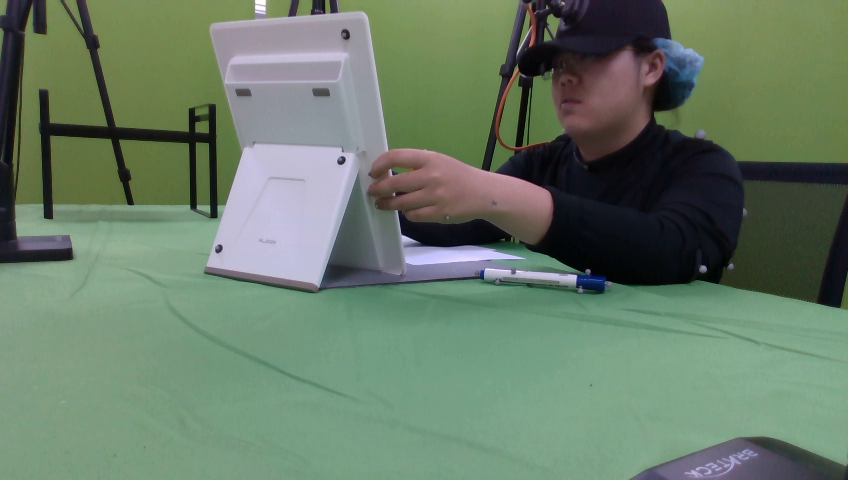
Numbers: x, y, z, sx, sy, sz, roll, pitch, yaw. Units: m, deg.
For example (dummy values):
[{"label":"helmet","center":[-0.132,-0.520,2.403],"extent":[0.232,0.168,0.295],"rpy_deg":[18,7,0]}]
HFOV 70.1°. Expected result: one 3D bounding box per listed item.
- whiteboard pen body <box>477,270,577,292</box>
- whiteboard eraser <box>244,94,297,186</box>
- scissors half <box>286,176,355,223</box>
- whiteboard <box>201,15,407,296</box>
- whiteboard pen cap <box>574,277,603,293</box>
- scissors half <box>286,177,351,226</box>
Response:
[{"label":"whiteboard pen body","center":[0.131,0.049,0.706],"extent":[0.140,0.017,0.017],"rpy_deg":[5,8,18]},{"label":"whiteboard eraser","center":[-0.195,-0.124,0.764],"extent":[0.055,0.112,0.042],"rpy_deg":[15,33,22]},{"label":"scissors half","center":[-0.229,-0.091,1.337],"extent":[0.175,0.013,0.040],"rpy_deg":[33,14,-13]},{"label":"whiteboard","center":[-0.167,-0.073,0.668],"extent":[0.216,0.305,0.144],"rpy_deg":[8,30,28]},{"label":"whiteboard pen cap","center":[0.186,0.051,0.686],"extent":[0.033,0.018,0.018],"rpy_deg":[5,8,17]},{"label":"scissors half","center":[-0.232,-0.085,1.317],"extent":[0.175,0.013,0.040],"rpy_deg":[38,19,4]}]
